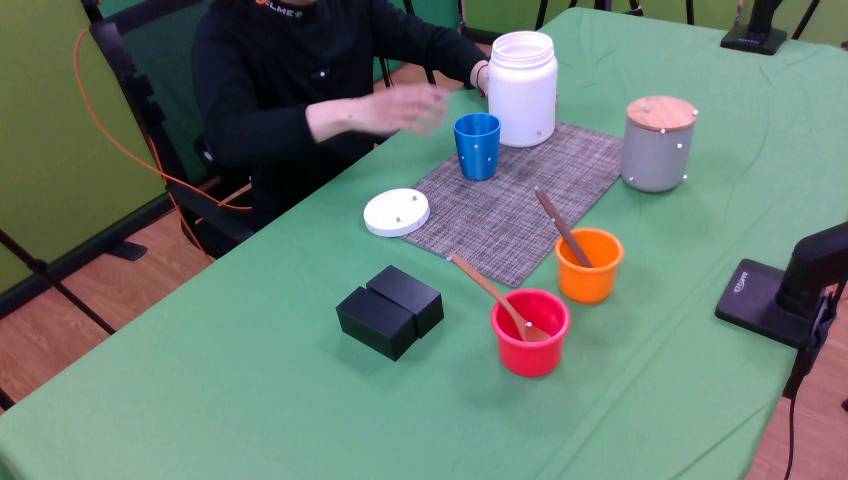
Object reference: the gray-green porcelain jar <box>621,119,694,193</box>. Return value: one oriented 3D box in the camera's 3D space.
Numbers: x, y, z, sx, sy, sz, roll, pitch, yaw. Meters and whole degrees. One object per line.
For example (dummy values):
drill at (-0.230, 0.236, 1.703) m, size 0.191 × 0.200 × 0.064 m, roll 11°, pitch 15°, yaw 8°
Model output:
gray-green porcelain jar at (0.389, -0.152, 1.016) m, size 0.106 × 0.127 × 0.105 m, roll -4°, pitch 40°, yaw 4°

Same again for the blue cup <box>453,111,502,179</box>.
blue cup at (0.097, -0.166, 1.088) m, size 0.092 × 0.100 × 0.092 m, roll -3°, pitch 40°, yaw 3°

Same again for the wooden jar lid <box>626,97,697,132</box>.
wooden jar lid at (0.381, -0.198, 0.976) m, size 0.108 × 0.021 × 0.108 m, roll -2°, pitch 40°, yaw 3°

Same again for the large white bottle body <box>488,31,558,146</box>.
large white bottle body at (0.187, -0.287, 1.151) m, size 0.130 × 0.185 × 0.130 m, roll -4°, pitch 41°, yaw 4°

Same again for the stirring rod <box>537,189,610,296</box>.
stirring rod at (0.211, 0.003, 0.855) m, size 0.014 × 0.006 × 0.176 m, roll -32°, pitch 88°, yaw -30°

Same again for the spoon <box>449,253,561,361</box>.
spoon at (0.103, 0.083, 0.770) m, size 0.194 × 0.021 × 0.042 m, roll 47°, pitch 51°, yaw -7°

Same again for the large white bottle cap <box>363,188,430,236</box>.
large white bottle cap at (-0.048, -0.050, 1.040) m, size 0.115 × 0.018 × 0.114 m, roll -7°, pitch 41°, yaw 6°
